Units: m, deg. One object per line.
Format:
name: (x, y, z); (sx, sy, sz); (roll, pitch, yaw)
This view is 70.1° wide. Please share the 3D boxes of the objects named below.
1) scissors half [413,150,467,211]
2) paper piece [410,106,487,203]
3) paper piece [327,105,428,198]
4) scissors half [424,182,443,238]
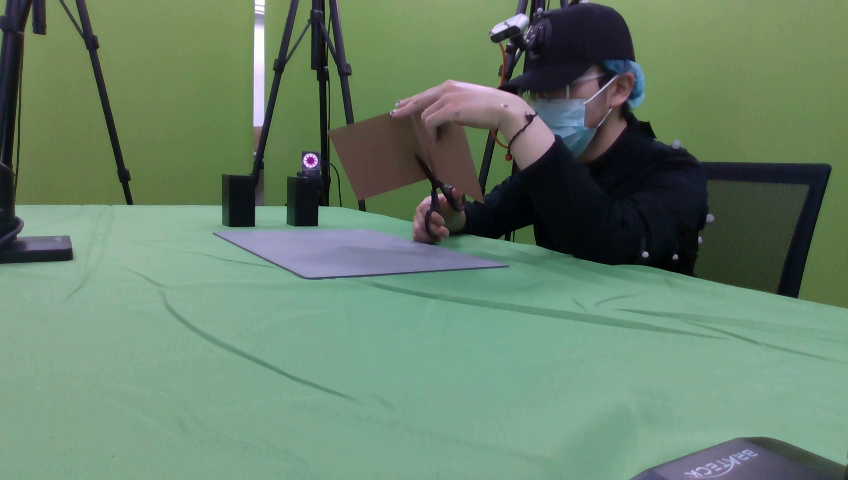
scissors half: (0.028, -0.101, 1.020); (0.013, 0.040, 0.176); (11, -19, 39)
paper piece: (0.036, -0.130, 0.912); (0.009, 0.136, 0.137); (-38, 41, -24)
paper piece: (-0.068, -0.139, 0.968); (0.136, 0.136, 0.004); (-16, 36, 6)
scissors half: (0.012, -0.085, 1.008); (0.012, 0.175, 0.040); (16, 28, 41)
